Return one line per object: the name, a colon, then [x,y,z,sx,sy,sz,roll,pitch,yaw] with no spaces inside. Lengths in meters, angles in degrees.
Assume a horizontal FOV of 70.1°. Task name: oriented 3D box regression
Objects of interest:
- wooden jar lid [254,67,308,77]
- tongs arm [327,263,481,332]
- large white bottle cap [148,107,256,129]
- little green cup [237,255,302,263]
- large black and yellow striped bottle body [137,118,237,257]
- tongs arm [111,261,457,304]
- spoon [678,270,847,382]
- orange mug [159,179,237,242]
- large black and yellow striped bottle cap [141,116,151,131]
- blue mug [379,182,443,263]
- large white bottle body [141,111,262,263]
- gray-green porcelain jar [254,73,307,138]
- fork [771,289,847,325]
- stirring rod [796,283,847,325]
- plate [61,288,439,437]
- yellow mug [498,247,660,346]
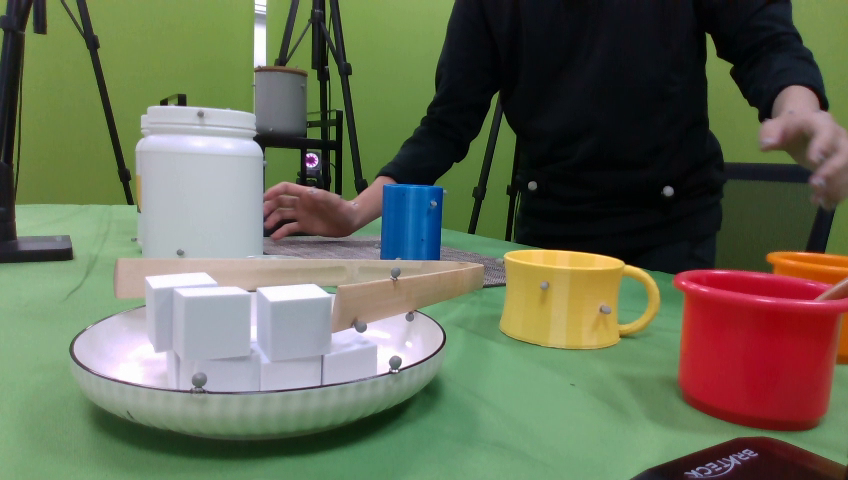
wooden jar lid: [-0.296,-0.339,1.251,0.108,0.020,0.108,1,7,0]
tongs arm: [-0.003,0.036,0.493,0.050,0.026,0.386,1,0,19]
large white bottle cap: [-0.250,-0.137,0.686,0.115,0.018,0.115,3,8,0]
little green cup: [-0.150,0.038,0.590,0.061,0.038,0.061,3,7,0]
large black and yellow striped bottle body: [-0.330,-0.075,0.849,0.131,0.184,0.130,2,8,0]
tongs arm: [-0.080,0.032,0.527,0.028,0.027,0.389,-3,-3,33]
spoon: [0.229,0.031,0.338,0.193,0.021,0.042,-44,-16,27]
orange mug: [-0.368,-0.051,0.991,0.127,0.101,0.083,-10,14,-41]
large black and yellow striped bottle cap: [-0.328,-0.158,0.837,0.115,0.019,0.115,2,6,0]
blue mug: [-0.019,-0.025,0.833,0.082,0.106,0.116,1,7,-6]
large white bottle body: [-0.254,-0.053,0.697,0.131,0.184,0.130,2,7,0]
gray-green porcelain jar: [-0.298,-0.277,1.259,0.106,0.126,0.106,3,8,0]
fork: [0.335,0.018,0.443,0.028,0.018,0.207,-1,-36,-20]
stirring rod: [0.346,0.019,0.460,0.014,0.176,0.006,-17,59,-26]
plate: [-0.095,0.069,0.362,0.208,0.039,0.207,3,7,0]
yellow mug: [0.130,0.045,0.508,0.131,0.064,0.100,4,7,6]
